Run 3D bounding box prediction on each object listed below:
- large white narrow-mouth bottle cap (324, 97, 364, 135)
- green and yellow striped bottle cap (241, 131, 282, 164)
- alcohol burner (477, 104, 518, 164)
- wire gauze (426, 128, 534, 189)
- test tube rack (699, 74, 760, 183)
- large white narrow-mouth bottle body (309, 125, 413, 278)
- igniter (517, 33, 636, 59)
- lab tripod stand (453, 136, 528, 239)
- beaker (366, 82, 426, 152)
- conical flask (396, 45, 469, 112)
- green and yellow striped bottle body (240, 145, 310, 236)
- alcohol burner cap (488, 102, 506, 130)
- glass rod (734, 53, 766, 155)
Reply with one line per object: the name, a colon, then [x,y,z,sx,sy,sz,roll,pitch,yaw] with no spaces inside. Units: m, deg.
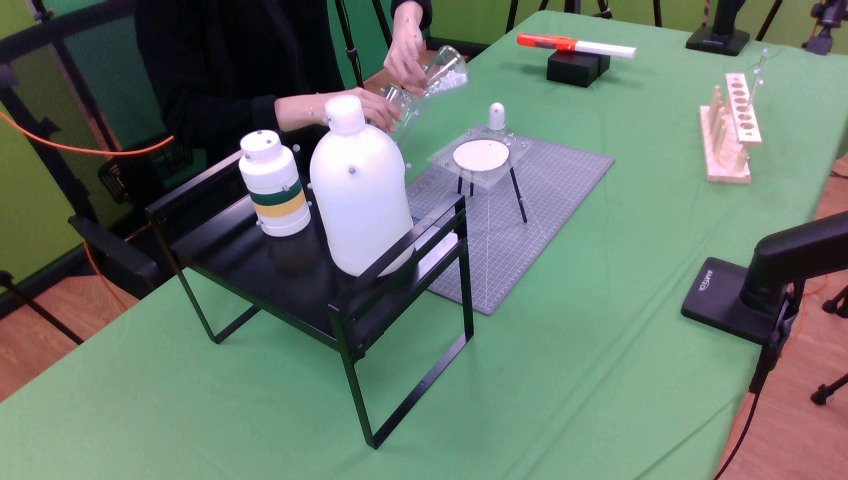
large white narrow-mouth bottle cap: [-0.076,-0.120,0.585,0.038,0.024,0.037,-3,42,3]
green and yellow striped bottle cap: [-0.187,-0.107,0.695,0.045,0.020,0.045,-3,39,3]
alcohol burner: [0.135,-0.200,1.117,0.078,0.119,0.077,-4,43,4]
wire gauze: [0.086,-0.131,0.924,0.124,0.011,0.122,26,52,33]
test tube rack: [0.547,-0.208,1.095,0.066,0.085,0.242,6,42,16]
large white narrow-mouth bottle body: [-0.068,-0.057,0.644,0.102,0.195,0.101,-3,42,4]
igniter: [0.336,-0.441,1.369,0.275,0.025,0.057,16,41,23]
lab tripod stand: [0.094,-0.086,0.974,0.148,0.132,0.147,-4,43,4]
beaker: [-0.052,-0.203,1.017,0.074,0.100,0.084,31,8,11]
conical flask: [0.012,-0.267,1.026,0.122,0.076,0.074,-38,47,-8]
green and yellow striped bottle body: [-0.181,-0.069,0.729,0.063,0.120,0.063,-4,40,4]
alcohol burner cap: [0.133,-0.227,1.092,0.034,0.048,0.033,-1,47,2]
glass rod: [0.540,-0.220,1.006,0.008,0.201,0.008,-5,45,6]
